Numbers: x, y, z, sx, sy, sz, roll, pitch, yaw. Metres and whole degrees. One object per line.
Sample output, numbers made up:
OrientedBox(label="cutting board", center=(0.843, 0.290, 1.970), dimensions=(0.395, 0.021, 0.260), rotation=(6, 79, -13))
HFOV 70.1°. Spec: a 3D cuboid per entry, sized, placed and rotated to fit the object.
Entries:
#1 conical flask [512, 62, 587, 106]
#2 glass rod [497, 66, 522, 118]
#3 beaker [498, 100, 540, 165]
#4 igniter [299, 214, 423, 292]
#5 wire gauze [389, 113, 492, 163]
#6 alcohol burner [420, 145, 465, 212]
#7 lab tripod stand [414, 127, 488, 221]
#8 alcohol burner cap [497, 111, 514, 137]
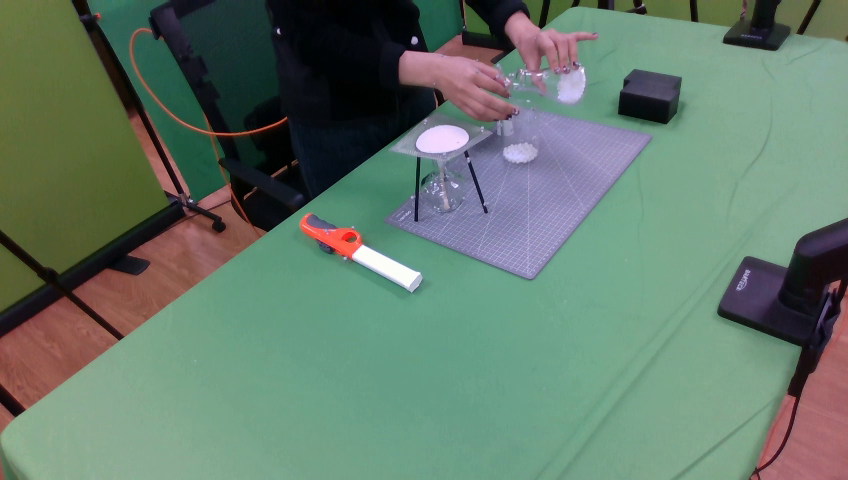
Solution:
OrientedBox(label="conical flask", center=(0.214, -0.273, 1.046), dimensions=(0.122, 0.075, 0.075), rotation=(-1, 37, -20))
OrientedBox(label="glass rod", center=(0.148, -0.249, 1.036), dimensions=(0.008, 0.201, 0.008), rotation=(-4, 78, 18))
OrientedBox(label="beaker", center=(0.180, -0.196, 1.117), dimensions=(0.074, 0.101, 0.083), rotation=(-25, 43, -17))
OrientedBox(label="igniter", center=(-0.112, 0.016, 0.983), dimensions=(0.274, 0.025, 0.057), rotation=(26, 62, 35))
OrientedBox(label="wire gauze", center=(0.026, -0.164, 0.977), dimensions=(0.120, 0.011, 0.125), rotation=(23, 49, 35))
OrientedBox(label="alcohol burner", center=(0.030, -0.108, 1.030), dimensions=(0.078, 0.119, 0.077), rotation=(-5, 38, 4))
OrientedBox(label="lab tripod stand", center=(0.035, -0.114, 1.021), dimensions=(0.148, 0.132, 0.147), rotation=(-7, 39, 6))
OrientedBox(label="alcohol burner cap", center=(0.163, -0.235, 1.211), dimensions=(0.034, 0.048, 0.033), rotation=(-7, 40, 6))
